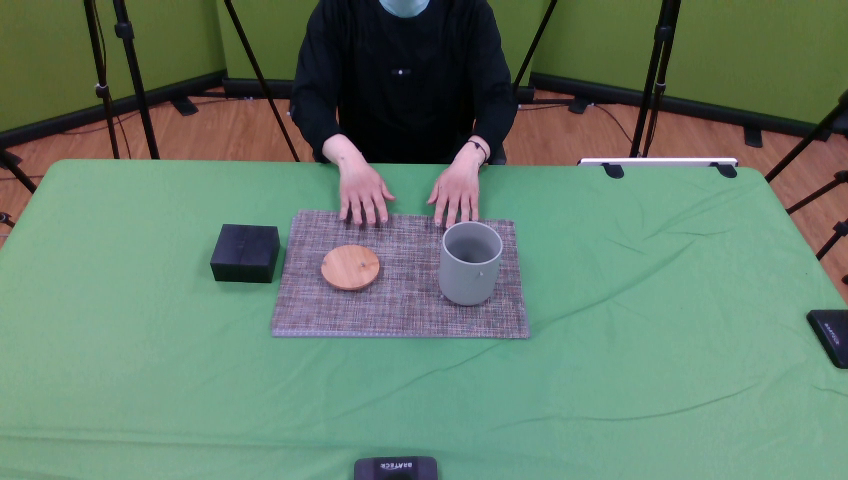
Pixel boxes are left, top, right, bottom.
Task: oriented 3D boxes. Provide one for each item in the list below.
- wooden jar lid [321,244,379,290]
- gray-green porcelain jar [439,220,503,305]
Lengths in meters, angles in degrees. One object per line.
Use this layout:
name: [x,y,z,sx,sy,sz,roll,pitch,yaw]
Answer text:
wooden jar lid: [-0.137,0.054,1.131,0.108,0.021,0.107,1,46,-1]
gray-green porcelain jar: [0.080,0.046,1.078,0.106,0.127,0.105,2,46,-2]
